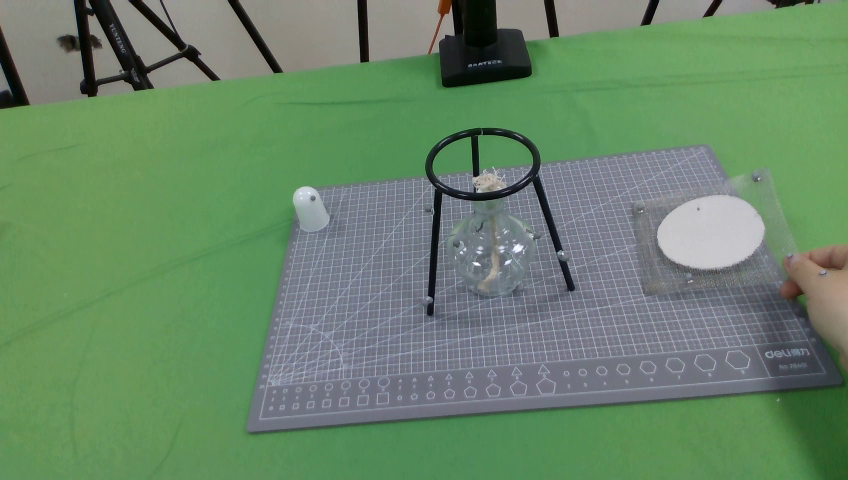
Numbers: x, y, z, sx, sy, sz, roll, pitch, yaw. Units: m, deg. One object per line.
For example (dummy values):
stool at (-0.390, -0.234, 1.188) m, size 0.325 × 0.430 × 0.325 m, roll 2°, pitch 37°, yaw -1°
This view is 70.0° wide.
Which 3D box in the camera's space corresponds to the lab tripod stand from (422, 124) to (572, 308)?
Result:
lab tripod stand at (0.055, -0.020, 0.512) m, size 0.148 × 0.133 × 0.147 m, roll -4°, pitch 43°, yaw 4°

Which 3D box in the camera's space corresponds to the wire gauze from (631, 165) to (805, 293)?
wire gauze at (0.250, -0.009, 0.535) m, size 0.125 × 0.011 × 0.120 m, roll -12°, pitch 46°, yaw 24°

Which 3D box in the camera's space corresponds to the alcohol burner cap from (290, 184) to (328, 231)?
alcohol burner cap at (-0.121, -0.037, 0.627) m, size 0.034 × 0.048 × 0.033 m, roll -4°, pitch 45°, yaw 5°

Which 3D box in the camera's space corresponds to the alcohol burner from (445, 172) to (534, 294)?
alcohol burner at (0.055, -0.010, 0.517) m, size 0.078 × 0.120 × 0.077 m, roll -4°, pitch 44°, yaw 4°
